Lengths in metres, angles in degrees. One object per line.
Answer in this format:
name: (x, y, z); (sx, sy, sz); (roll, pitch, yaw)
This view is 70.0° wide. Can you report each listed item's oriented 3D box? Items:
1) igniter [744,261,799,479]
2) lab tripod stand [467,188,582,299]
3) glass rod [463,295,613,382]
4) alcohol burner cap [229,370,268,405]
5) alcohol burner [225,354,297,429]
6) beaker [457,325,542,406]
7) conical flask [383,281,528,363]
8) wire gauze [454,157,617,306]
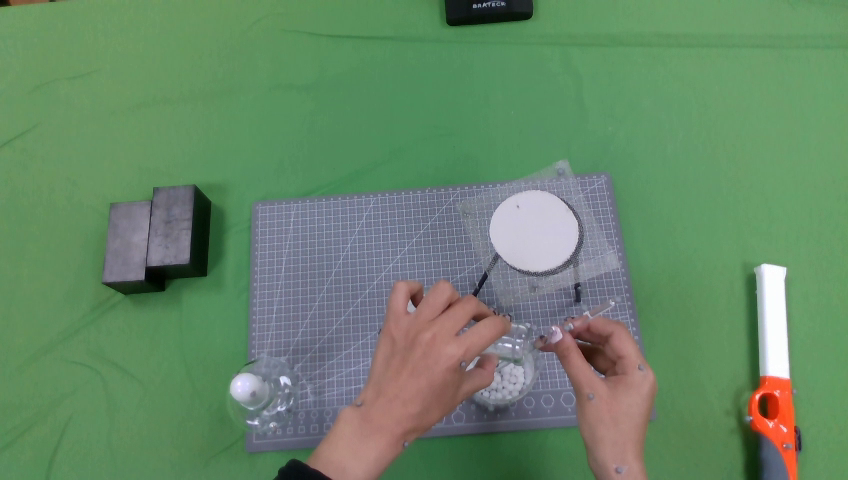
igniter: (0.374, 0.156, 0.656); (0.057, 0.025, 0.275); (10, 72, -5)
lab tripod stand: (0.112, 0.014, 0.657); (0.148, 0.132, 0.147); (-1, 73, 3)
glass rod: (0.095, 0.094, 0.549); (0.008, 0.200, 0.008); (21, 50, -26)
alcohol burner cap: (-0.175, 0.143, 0.597); (0.034, 0.048, 0.033); (1, 69, -2)
alcohol burner: (-0.174, 0.156, 0.631); (0.078, 0.120, 0.077); (0, 72, 1)
beaker: (0.076, 0.135, 0.635); (0.084, 0.101, 0.073); (-7, 71, 0)
conical flask: (0.030, 0.081, 0.543); (0.121, 0.076, 0.075); (8, 71, 18)
wire gauze: (0.108, -0.010, 0.594); (0.125, 0.011, 0.120); (-21, 73, -3)
